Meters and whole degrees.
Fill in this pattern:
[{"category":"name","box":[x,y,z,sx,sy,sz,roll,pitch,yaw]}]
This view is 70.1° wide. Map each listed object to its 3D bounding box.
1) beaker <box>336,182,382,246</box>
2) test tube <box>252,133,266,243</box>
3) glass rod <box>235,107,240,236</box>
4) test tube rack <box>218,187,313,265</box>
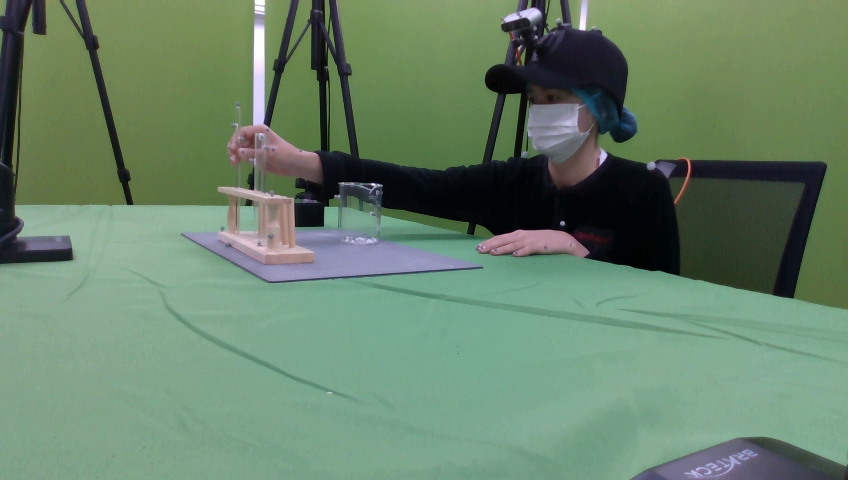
[{"category":"beaker","box":[-0.107,-0.043,0.996,0.074,0.100,0.083,-2,10,-29]},{"category":"test tube","box":[-0.225,-0.070,0.826,0.017,0.150,0.017,2,2,0]},{"category":"glass rod","box":[-0.284,-0.102,0.921,0.008,0.199,0.008,1,3,0]},{"category":"test tube rack","box":[-0.235,-0.027,0.872,0.067,0.085,0.241,-2,8,-32]}]
